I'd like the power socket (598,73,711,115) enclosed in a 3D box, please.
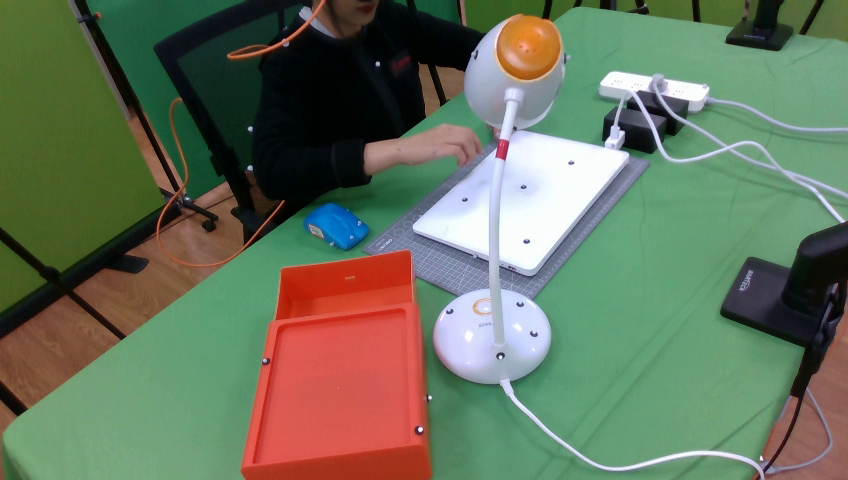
[{"bbox_3d":[0.470,-0.303,1.249,0.225,0.033,0.072,20,49,30],"label":"power socket"}]

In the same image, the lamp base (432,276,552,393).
[{"bbox_3d":[0.085,0.075,0.756,0.161,0.181,0.178,-14,44,-6],"label":"lamp base"}]

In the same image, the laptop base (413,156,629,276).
[{"bbox_3d":[0.176,-0.077,1.048,0.233,0.023,0.355,19,47,34],"label":"laptop base"}]

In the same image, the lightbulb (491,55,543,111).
[{"bbox_3d":[0.108,-0.181,0.679,0.059,0.059,0.107,-9,-1,1],"label":"lightbulb"}]

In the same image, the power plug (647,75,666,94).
[{"bbox_3d":[0.457,-0.301,1.212,0.073,0.053,0.035,-36,46,-28],"label":"power plug"}]

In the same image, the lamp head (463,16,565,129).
[{"bbox_3d":[0.101,-0.184,0.655,0.112,0.112,0.123,-9,1,0],"label":"lamp head"}]

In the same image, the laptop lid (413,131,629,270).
[{"bbox_3d":[0.172,-0.087,1.042,0.239,0.013,0.357,21,48,34],"label":"laptop lid"}]

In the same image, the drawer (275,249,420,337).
[{"bbox_3d":[-0.104,0.117,0.825,0.194,0.073,0.210,-8,40,1],"label":"drawer"}]

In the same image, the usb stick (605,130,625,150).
[{"bbox_3d":[0.348,-0.175,1.110,0.021,0.027,0.059,19,52,29],"label":"usb stick"}]

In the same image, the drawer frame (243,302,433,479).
[{"bbox_3d":[-0.096,0.185,0.738,0.202,0.083,0.212,-8,40,1],"label":"drawer frame"}]

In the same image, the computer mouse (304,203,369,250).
[{"bbox_3d":[-0.151,-0.026,1.037,0.116,0.041,0.063,28,51,31],"label":"computer mouse"}]
